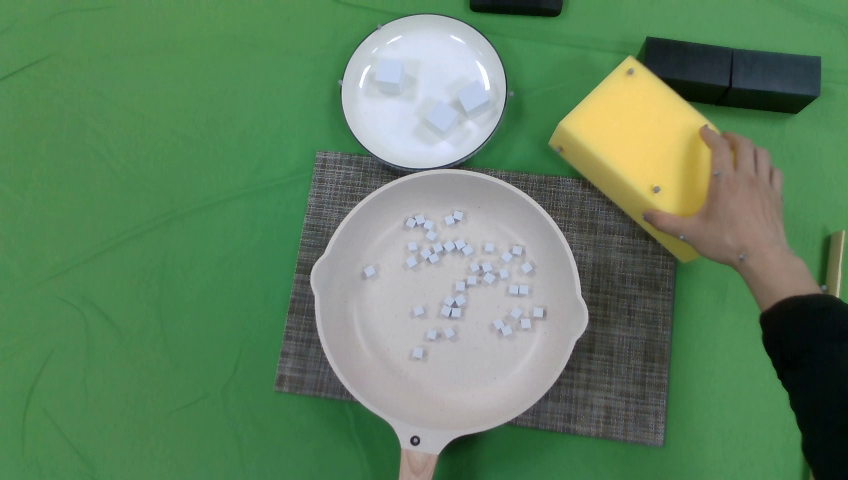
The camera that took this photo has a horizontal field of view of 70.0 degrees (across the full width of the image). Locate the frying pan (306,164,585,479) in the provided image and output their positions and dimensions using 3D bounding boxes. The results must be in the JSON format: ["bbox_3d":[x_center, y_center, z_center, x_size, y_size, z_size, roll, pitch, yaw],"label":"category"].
[{"bbox_3d":[0.002,0.157,0.655,0.306,0.103,0.485,10,71,6],"label":"frying pan"}]

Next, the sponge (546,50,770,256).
[{"bbox_3d":[0.256,-0.096,0.676,0.206,0.061,0.118,43,80,7],"label":"sponge"}]

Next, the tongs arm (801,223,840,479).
[{"bbox_3d":[0.442,0.168,0.670,0.028,0.028,0.386,10,80,4],"label":"tongs arm"}]

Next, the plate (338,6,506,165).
[{"bbox_3d":[-0.002,-0.190,0.761,0.207,0.039,0.206,-1,79,4],"label":"plate"}]
